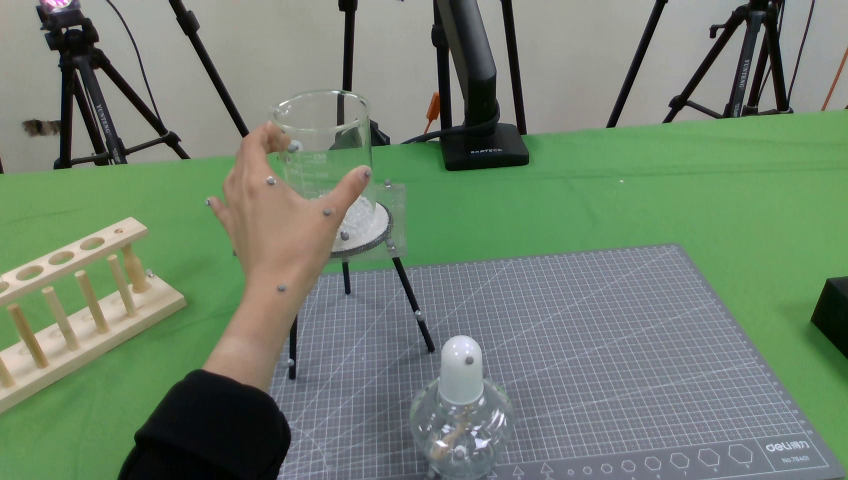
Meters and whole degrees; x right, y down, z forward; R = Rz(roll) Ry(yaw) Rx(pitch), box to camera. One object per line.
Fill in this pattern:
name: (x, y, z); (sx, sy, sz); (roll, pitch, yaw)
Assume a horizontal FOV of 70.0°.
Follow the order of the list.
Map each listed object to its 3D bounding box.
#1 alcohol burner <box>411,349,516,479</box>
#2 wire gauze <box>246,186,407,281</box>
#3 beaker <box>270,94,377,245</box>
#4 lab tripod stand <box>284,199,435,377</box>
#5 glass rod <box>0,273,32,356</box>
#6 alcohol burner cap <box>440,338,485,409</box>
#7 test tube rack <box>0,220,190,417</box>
alcohol burner: (0.028, 0.118, 0.434); (0.078, 0.120, 0.077); (-1, 37, 1)
wire gauze: (-0.074, -0.012, 0.498); (0.121, 0.011, 0.124); (-3, 37, -1)
beaker: (-0.076, -0.054, 0.472); (0.083, 0.101, 0.074); (18, 39, 25)
lab tripod stand: (-0.063, 0.040, 0.538); (0.148, 0.132, 0.147); (-1, 33, 1)
glass rod: (-0.375, 0.019, 0.524); (0.008, 0.201, 0.008); (-2, 27, 1)
alcohol burner cap: (0.027, 0.088, 0.414); (0.034, 0.048, 0.033); (0, 36, 0)
test tube rack: (-0.350, 0.079, 0.552); (0.066, 0.086, 0.242); (25, 43, 35)
